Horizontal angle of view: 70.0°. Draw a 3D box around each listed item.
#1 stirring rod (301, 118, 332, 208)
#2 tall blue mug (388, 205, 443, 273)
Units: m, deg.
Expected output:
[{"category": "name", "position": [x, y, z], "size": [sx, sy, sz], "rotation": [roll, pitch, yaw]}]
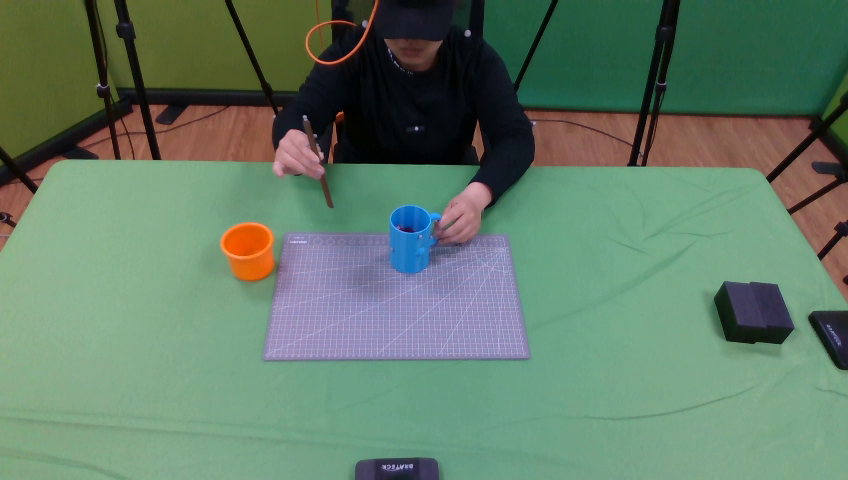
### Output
[{"category": "stirring rod", "position": [-0.180, -0.126, 1.023], "size": [0.014, 0.177, 0.006], "rotation": [20, 48, 31]}, {"category": "tall blue mug", "position": [-0.020, -0.010, 1.144], "size": [0.077, 0.108, 0.107], "rotation": [23, 48, 18]}]
